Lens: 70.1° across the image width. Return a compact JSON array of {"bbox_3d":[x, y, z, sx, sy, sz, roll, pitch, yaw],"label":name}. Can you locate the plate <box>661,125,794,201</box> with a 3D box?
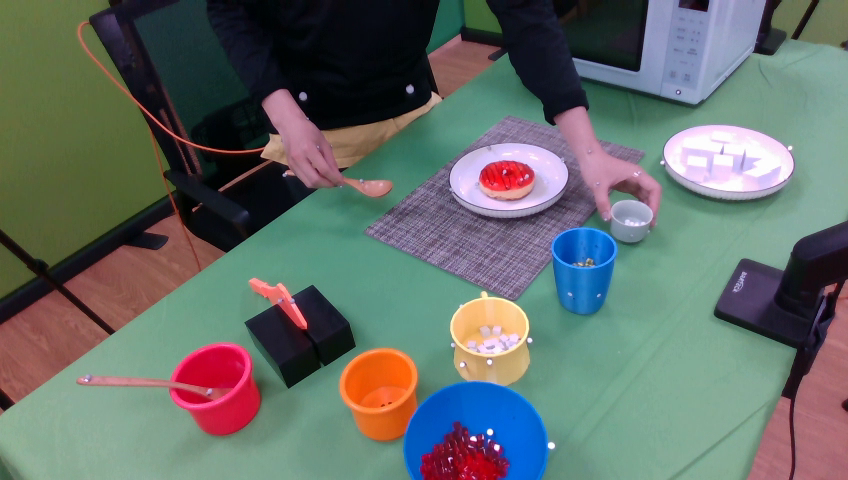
[{"bbox_3d":[0.514,-0.128,1.035,0.207,0.039,0.206,-4,40,4],"label":"plate"}]

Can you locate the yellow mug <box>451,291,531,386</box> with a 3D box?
[{"bbox_3d":[0.085,0.120,0.786,0.100,0.064,0.130,-7,39,1],"label":"yellow mug"}]

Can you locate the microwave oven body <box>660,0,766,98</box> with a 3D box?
[{"bbox_3d":[0.473,-0.513,1.317,0.438,0.261,0.327,26,51,34],"label":"microwave oven body"}]

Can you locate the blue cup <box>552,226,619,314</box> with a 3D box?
[{"bbox_3d":[0.218,0.047,0.825,0.092,0.101,0.092,-6,40,5],"label":"blue cup"}]

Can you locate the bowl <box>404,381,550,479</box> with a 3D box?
[{"bbox_3d":[0.058,0.235,0.645,0.151,0.077,0.150,-4,39,4],"label":"bowl"}]

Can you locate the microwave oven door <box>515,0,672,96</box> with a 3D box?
[{"bbox_3d":[0.343,-0.455,1.259,0.353,0.245,0.039,26,51,33],"label":"microwave oven door"}]

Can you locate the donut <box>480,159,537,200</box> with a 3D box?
[{"bbox_3d":[0.145,-0.106,1.043,0.099,0.048,0.098,-4,38,4],"label":"donut"}]

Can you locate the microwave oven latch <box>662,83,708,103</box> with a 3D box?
[{"bbox_3d":[0.518,-0.297,1.204,0.078,0.029,0.030,28,52,35],"label":"microwave oven latch"}]

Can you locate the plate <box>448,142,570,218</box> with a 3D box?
[{"bbox_3d":[0.148,-0.101,1.053,0.209,0.038,0.208,-4,40,4],"label":"plate"}]

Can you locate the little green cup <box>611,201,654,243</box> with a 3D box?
[{"bbox_3d":[0.316,-0.027,0.925,0.061,0.039,0.061,-1,44,1],"label":"little green cup"}]

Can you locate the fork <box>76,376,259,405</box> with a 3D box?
[{"bbox_3d":[-0.295,0.176,0.716,0.209,0.018,0.028,19,27,-36],"label":"fork"}]

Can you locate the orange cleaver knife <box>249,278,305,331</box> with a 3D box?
[{"bbox_3d":[-0.210,0.088,0.856,0.012,0.077,0.210,-28,15,-25],"label":"orange cleaver knife"}]

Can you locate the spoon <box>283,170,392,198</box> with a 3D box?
[{"bbox_3d":[-0.146,-0.099,1.010,0.193,0.022,0.041,13,53,10],"label":"spoon"}]
